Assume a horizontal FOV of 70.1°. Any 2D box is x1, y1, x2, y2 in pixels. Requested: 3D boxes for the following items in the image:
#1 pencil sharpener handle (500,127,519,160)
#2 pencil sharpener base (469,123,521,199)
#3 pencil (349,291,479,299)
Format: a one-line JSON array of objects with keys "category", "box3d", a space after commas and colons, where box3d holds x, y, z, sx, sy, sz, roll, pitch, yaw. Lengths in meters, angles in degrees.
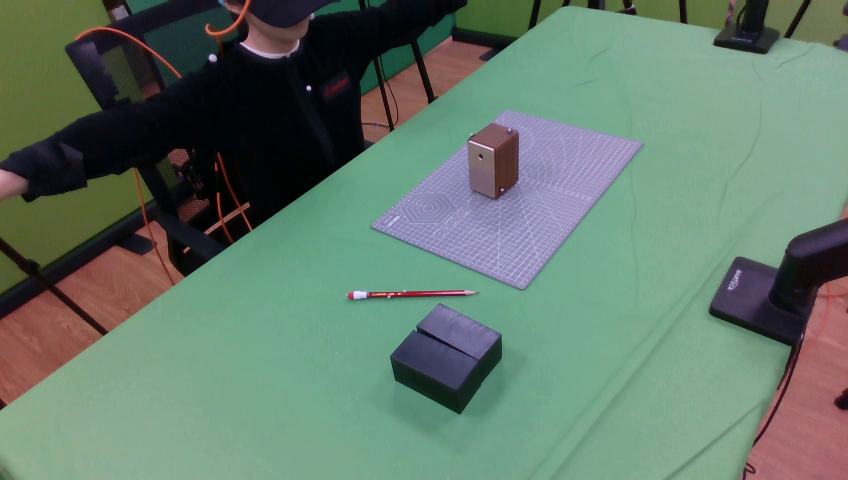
[{"category": "pencil sharpener handle", "box3d": [0.157, -0.175, 1.069, 0.035, 0.068, 0.031, 31, 53, 29]}, {"category": "pencil sharpener base", "box3d": [0.126, -0.138, 1.049, 0.061, 0.107, 0.077, 26, 50, 34]}, {"category": "pencil", "box3d": [-0.015, 0.081, 0.894, 0.194, 0.012, 0.012, -1, 41, 6]}]
